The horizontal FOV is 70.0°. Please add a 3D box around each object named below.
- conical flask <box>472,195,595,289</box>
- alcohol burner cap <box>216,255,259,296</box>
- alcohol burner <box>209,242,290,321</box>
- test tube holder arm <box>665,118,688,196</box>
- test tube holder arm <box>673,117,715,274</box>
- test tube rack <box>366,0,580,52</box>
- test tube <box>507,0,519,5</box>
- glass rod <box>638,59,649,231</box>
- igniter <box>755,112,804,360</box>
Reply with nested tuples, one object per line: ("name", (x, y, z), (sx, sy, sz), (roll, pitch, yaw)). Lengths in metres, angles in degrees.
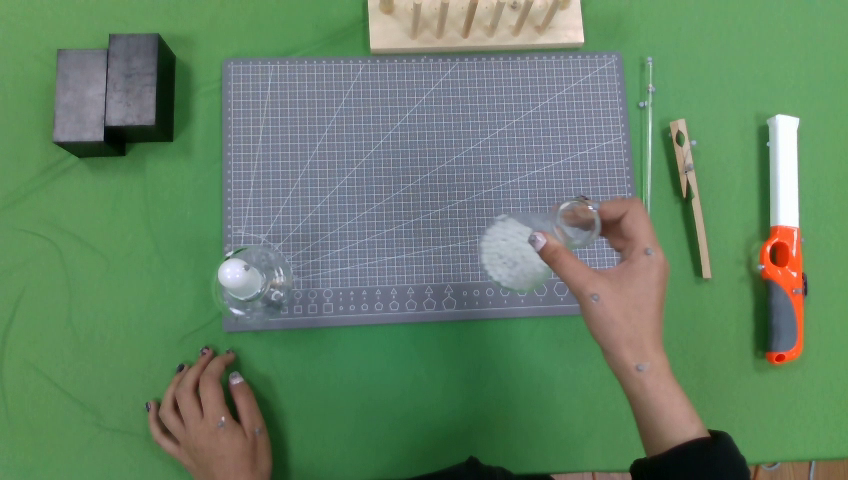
("conical flask", (0.094, -0.003, 0.504), (0.075, 0.122, 0.075), (4, 77, -16))
("alcohol burner cap", (-0.170, 0.030, 0.546), (0.034, 0.048, 0.033), (1, 72, -2))
("alcohol burner", (-0.171, 0.038, 0.581), (0.078, 0.119, 0.077), (0, 80, -1))
("test tube holder arm", (0.286, -0.093, 0.680), (0.010, 0.015, 0.087), (-14, 81, 32))
("test tube holder arm", (0.298, -0.050, 0.671), (0.013, 0.015, 0.177), (-16, 80, 31))
("test tube rack", (0.058, -0.258, 0.657), (0.242, 0.085, 0.066), (-3, 81, -4))
("test tube", (0.099, -0.286, 0.614), (0.017, 0.151, 0.017), (0, 79, 1))
("glass rod", (0.248, -0.109, 0.684), (0.008, 0.008, 0.199), (4, 83, -3))
("igniter", (0.392, -0.007, 0.668), (0.057, 0.025, 0.275), (7, 81, -12))
